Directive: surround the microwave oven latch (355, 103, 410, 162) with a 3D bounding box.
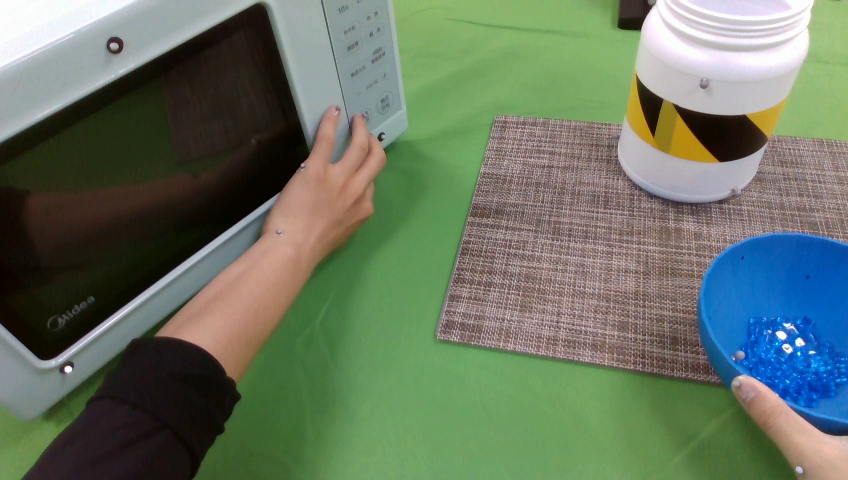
[{"bbox_3d":[-0.048,-0.115,0.629,0.030,0.030,0.079,34,61,30],"label":"microwave oven latch"}]

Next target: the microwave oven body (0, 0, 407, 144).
[{"bbox_3d":[-0.284,-0.138,0.545,0.323,0.263,0.441,31,59,28],"label":"microwave oven body"}]

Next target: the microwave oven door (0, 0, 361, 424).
[{"bbox_3d":[-0.202,-0.051,0.452,0.039,0.246,0.355,31,58,29],"label":"microwave oven door"}]

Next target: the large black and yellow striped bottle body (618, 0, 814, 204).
[{"bbox_3d":[0.251,-0.138,0.537,0.131,0.186,0.129,-3,49,4],"label":"large black and yellow striped bottle body"}]

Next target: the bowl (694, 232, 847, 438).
[{"bbox_3d":[0.260,0.075,0.420,0.151,0.077,0.150,-3,49,4],"label":"bowl"}]
